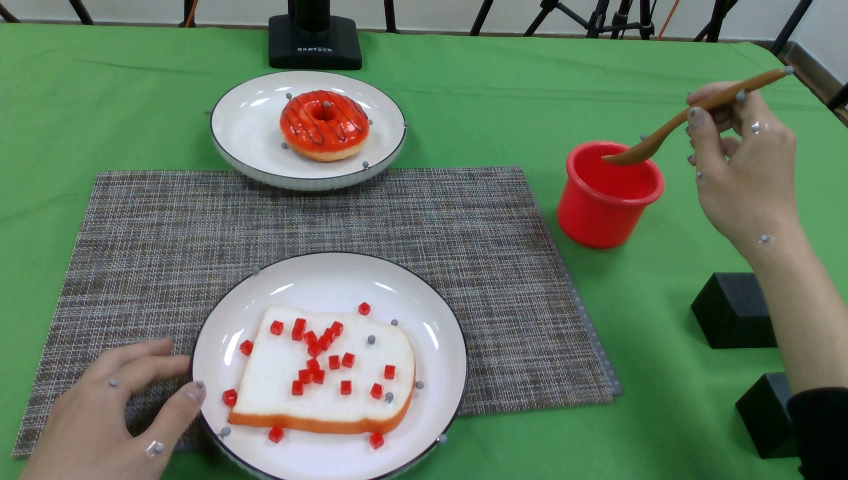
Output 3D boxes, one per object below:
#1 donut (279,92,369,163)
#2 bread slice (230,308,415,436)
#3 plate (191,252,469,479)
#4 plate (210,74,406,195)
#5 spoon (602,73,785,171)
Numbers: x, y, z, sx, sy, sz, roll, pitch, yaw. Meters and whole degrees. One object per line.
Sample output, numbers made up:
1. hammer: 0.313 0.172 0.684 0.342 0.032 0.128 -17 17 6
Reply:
1. donut: -0.109 -0.123 0.664 0.099 0.048 0.098 6 47 -6
2. bread slice: -0.072 0.101 0.473 0.131 0.019 0.104 7 46 -2
3. plate: -0.070 0.097 0.474 0.209 0.038 0.207 5 46 -5
4. plate: -0.125 -0.115 0.670 0.208 0.039 0.205 5 44 -5
5. spoon: 0.211 -0.092 0.498 0.042 0.194 0.021 -3 75 -18
